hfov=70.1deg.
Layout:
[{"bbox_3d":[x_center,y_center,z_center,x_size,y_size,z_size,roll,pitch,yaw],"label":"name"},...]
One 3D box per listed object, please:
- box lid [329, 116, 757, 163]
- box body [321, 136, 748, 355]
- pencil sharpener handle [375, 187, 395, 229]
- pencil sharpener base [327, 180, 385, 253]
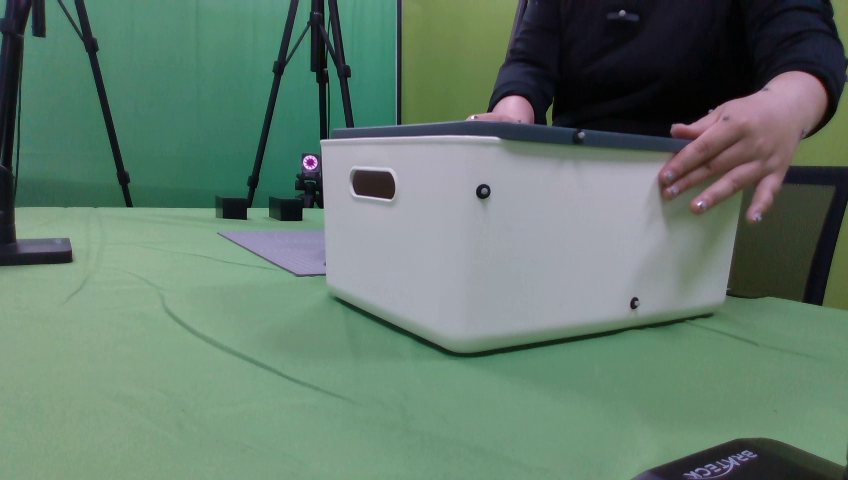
[{"bbox_3d":[0.117,-0.090,0.601,0.374,0.015,0.262,-1,6,-35],"label":"box lid"},{"bbox_3d":[0.105,-0.011,0.601,0.366,0.160,0.253,-2,8,-34],"label":"box body"},{"bbox_3d":[-0.059,-0.050,0.958,0.031,0.067,0.036,-1,14,-30],"label":"pencil sharpener handle"},{"bbox_3d":[-0.103,-0.037,0.932,0.077,0.107,0.061,-1,8,-30],"label":"pencil sharpener base"}]
